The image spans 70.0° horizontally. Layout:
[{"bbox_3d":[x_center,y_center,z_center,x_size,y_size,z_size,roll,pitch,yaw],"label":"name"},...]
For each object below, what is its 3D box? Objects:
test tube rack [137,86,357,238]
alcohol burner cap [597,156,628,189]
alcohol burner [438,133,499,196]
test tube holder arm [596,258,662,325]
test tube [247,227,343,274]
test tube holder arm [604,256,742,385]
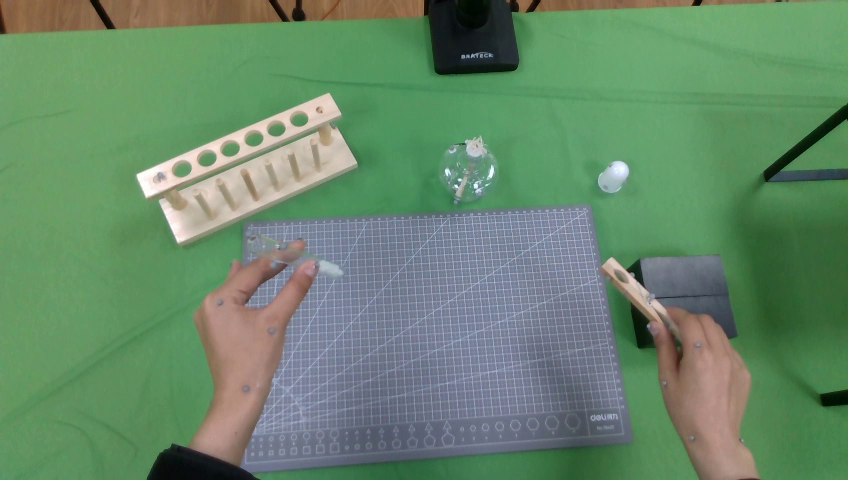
[{"bbox_3d":[-0.208,-0.095,0.745,0.242,0.085,0.066,-26,74,-11],"label":"test tube rack"},{"bbox_3d":[0.249,-0.090,0.794,0.034,0.048,0.033,1,71,-1],"label":"alcohol burner cap"},{"bbox_3d":[0.057,-0.102,0.749,0.078,0.119,0.077,1,72,-4],"label":"alcohol burner"},{"bbox_3d":[0.214,0.054,0.627,0.010,0.015,0.087,-43,77,-5],"label":"test tube holder arm"},{"bbox_3d":[-0.105,0.012,0.522,0.017,0.151,0.017,-3,78,16],"label":"test tube"},{"bbox_3d":[0.250,0.080,0.617,0.177,0.015,0.013,43,84,13],"label":"test tube holder arm"}]
